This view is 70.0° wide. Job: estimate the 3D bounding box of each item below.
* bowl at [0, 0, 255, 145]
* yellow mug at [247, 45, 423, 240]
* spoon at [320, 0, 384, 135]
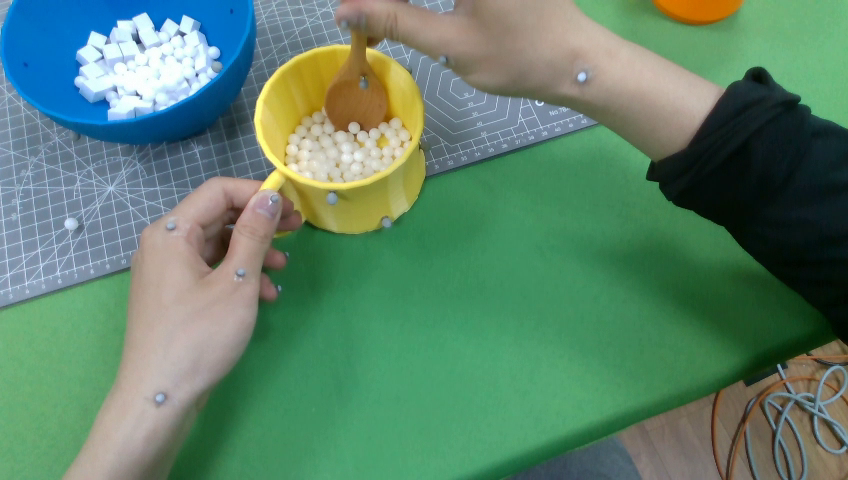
[{"bbox_3d":[-0.178,-0.117,0.396,0.151,0.077,0.150,0,67,0],"label":"bowl"},{"bbox_3d":[-0.060,-0.051,0.377,0.099,0.064,0.130,37,73,14],"label":"yellow mug"},{"bbox_3d":[-0.036,-0.112,0.325,0.042,0.194,0.021,-2,72,-9],"label":"spoon"}]
